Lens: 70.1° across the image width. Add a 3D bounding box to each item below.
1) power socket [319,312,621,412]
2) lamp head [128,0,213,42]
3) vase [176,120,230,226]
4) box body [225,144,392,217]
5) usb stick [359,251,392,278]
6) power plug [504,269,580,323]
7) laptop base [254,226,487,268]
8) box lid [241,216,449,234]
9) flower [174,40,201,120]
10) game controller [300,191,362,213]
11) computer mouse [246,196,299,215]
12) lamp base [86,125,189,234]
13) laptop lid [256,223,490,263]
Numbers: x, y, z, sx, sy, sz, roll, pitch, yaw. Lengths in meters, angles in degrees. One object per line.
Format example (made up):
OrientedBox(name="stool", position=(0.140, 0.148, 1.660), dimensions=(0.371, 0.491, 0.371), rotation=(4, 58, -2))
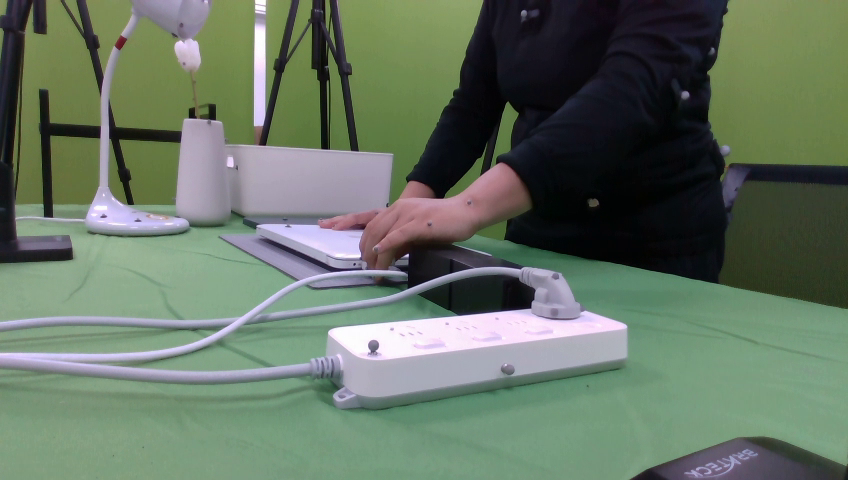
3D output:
OrientedBox(name="power socket", position=(0.037, 0.075, 0.410), dimensions=(0.228, 0.032, 0.072), rotation=(-2, 8, -29))
OrientedBox(name="lamp head", position=(-0.423, -0.394, 0.980), dimensions=(0.123, 0.112, 0.112), rotation=(20, 7, -3))
OrientedBox(name="vase", position=(-0.425, -0.128, 1.159), dimensions=(0.098, 0.200, 0.098), rotation=(2, 9, 0))
OrientedBox(name="box body", position=(-0.289, -0.143, 1.475), dimensions=(0.366, 0.160, 0.253), rotation=(-1, 9, -29))
OrientedBox(name="usb stick", position=(-0.061, 0.028, 0.709), dimensions=(0.021, 0.027, 0.059), rotation=(1, 5, -31))
OrientedBox(name="power plug", position=(0.091, 0.051, 0.470), dimensions=(0.035, 0.052, 0.072), rotation=(0, 6, -16))
OrientedBox(name="laptop base", position=(-0.096, 0.011, 0.911), dimensions=(0.237, 0.023, 0.352), rotation=(3, 5, -32))
OrientedBox(name="box lid", position=(-0.162, -0.030, 1.234), dimensions=(0.373, 0.015, 0.262), rotation=(-1, 8, -32))
OrientedBox(name="flower", position=(-0.430, -0.211, 1.165), dimensions=(0.044, 0.361, 0.038), rotation=(-10, -5, -22))
OrientedBox(name="game controller", position=(-0.240, -0.098, 1.550), dimensions=(0.155, 0.051, 0.097), rotation=(3, 9, 5))
OrientedBox(name="computer mouse", position=(-0.355, -0.082, 1.418), dimensions=(0.117, 0.041, 0.063), rotation=(0, 9, 7))
OrientedBox(name="lamp base", position=(-0.498, -0.105, 1.027), dimensions=(0.179, 0.180, 0.160), rotation=(1, 7, 3))
OrientedBox(name="laptop lid", position=(-0.093, 0.001, 0.912), dimensions=(0.243, 0.013, 0.355), rotation=(3, 6, -30))
